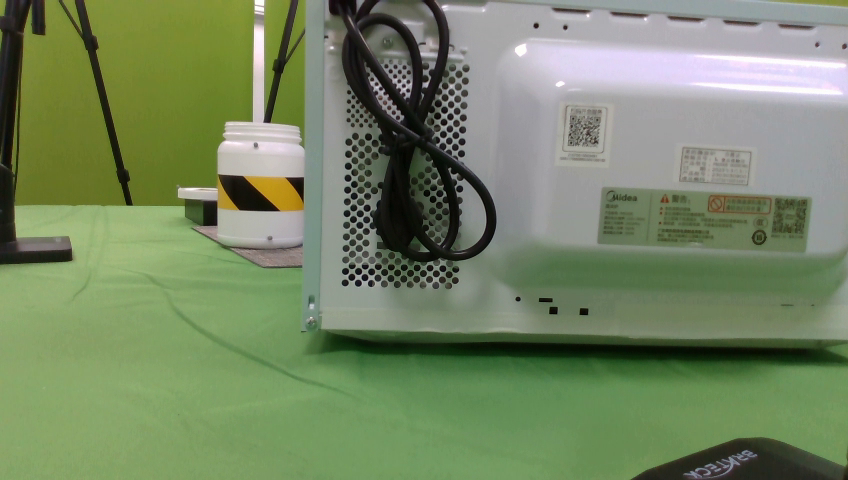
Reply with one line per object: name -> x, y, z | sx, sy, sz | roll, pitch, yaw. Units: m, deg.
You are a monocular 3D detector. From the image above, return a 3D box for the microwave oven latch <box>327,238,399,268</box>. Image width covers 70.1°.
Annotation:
microwave oven latch -> -0.070, 0.015, 0.694 | 0.079, 0.029, 0.030 | 3, 7, -2

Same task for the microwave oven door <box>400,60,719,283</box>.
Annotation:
microwave oven door -> 0.154, -0.079, 0.709 | 0.356, 0.243, 0.039 | 3, 8, -1

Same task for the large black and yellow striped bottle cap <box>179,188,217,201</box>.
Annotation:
large black and yellow striped bottle cap -> -0.434, -0.093, 1.226 | 0.115, 0.019, 0.115 | 3, 9, 0

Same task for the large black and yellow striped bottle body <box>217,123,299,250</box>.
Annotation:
large black and yellow striped bottle body -> -0.250, -0.084, 0.931 | 0.131, 0.184, 0.130 | 2, 7, 0

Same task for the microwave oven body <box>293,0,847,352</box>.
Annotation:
microwave oven body -> 0.122, -0.055, 0.550 | 0.442, 0.260, 0.325 | 3, 7, -5
